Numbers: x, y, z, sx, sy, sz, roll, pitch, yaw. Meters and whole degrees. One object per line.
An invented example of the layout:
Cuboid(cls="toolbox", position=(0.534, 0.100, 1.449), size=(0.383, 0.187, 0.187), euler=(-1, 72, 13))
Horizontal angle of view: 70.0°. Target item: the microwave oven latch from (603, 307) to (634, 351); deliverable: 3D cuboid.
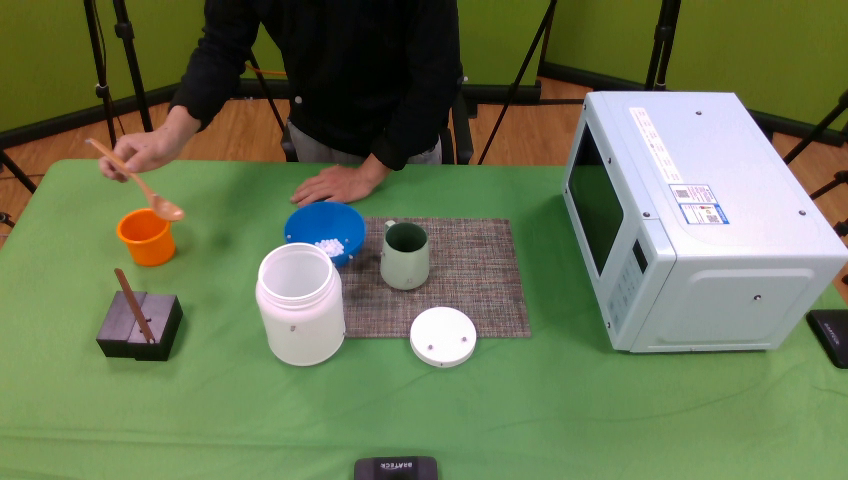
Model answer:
Cuboid(cls="microwave oven latch", position=(0.332, 0.153, 1.044), size=(0.030, 0.029, 0.078), euler=(0, 45, -4))

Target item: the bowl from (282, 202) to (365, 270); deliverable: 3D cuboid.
Cuboid(cls="bowl", position=(-0.186, 0.006, 1.136), size=(0.151, 0.077, 0.150), euler=(3, 46, -3))

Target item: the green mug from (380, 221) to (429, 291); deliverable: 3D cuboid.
Cuboid(cls="green mug", position=(-0.043, 0.020, 1.116), size=(0.092, 0.105, 0.124), euler=(-20, 50, -21))

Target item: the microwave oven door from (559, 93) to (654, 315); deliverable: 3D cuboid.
Cuboid(cls="microwave oven door", position=(0.327, -0.074, 1.123), size=(0.039, 0.245, 0.353), euler=(-1, 46, -5))

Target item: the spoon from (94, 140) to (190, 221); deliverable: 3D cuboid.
Cuboid(cls="spoon", position=(-0.472, -0.100, 1.014), size=(0.194, 0.021, 0.041), euler=(47, 30, -10))

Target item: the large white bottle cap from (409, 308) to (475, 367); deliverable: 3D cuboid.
Cuboid(cls="large white bottle cap", position=(0.031, 0.165, 1.041), size=(0.115, 0.018, 0.114), euler=(2, 47, -2))

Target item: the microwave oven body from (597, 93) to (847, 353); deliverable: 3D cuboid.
Cuboid(cls="microwave oven body", position=(0.475, -0.041, 1.109), size=(0.326, 0.261, 0.438), euler=(-1, 45, -4))

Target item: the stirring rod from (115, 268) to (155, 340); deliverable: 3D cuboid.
Cuboid(cls="stirring rod", position=(-0.479, 0.103, 0.999), size=(0.014, 0.006, 0.175), euler=(7, 32, -49))

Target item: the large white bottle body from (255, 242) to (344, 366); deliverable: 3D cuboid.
Cuboid(cls="large white bottle body", position=(-0.196, 0.102, 0.967), size=(0.131, 0.185, 0.130), euler=(2, 49, -2))
